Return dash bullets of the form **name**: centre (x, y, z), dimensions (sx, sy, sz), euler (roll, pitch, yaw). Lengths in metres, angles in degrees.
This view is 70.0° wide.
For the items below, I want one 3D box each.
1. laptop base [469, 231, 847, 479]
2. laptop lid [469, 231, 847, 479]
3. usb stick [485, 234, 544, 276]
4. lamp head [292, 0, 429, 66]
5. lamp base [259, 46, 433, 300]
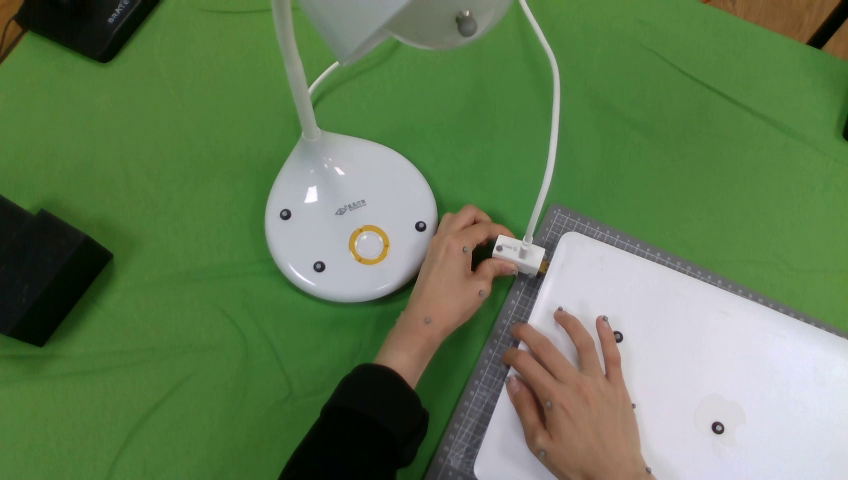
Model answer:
- **laptop base**: centre (0.240, 0.157, 0.516), dimensions (0.354, 0.023, 0.234), euler (22, 75, 6)
- **laptop lid**: centre (0.239, 0.155, 0.505), dimensions (0.356, 0.013, 0.241), euler (24, 74, 7)
- **usb stick**: centre (0.086, 0.016, 0.548), dimensions (0.059, 0.027, 0.021), euler (19, 66, 4)
- **lamp head**: centre (-0.023, -0.138, 0.203), dimensions (0.112, 0.112, 0.123), euler (-44, 101, -15)
- **lamp base**: centre (-0.077, -0.057, 0.494), dimensions (0.160, 0.181, 0.178), euler (-34, 72, -13)
